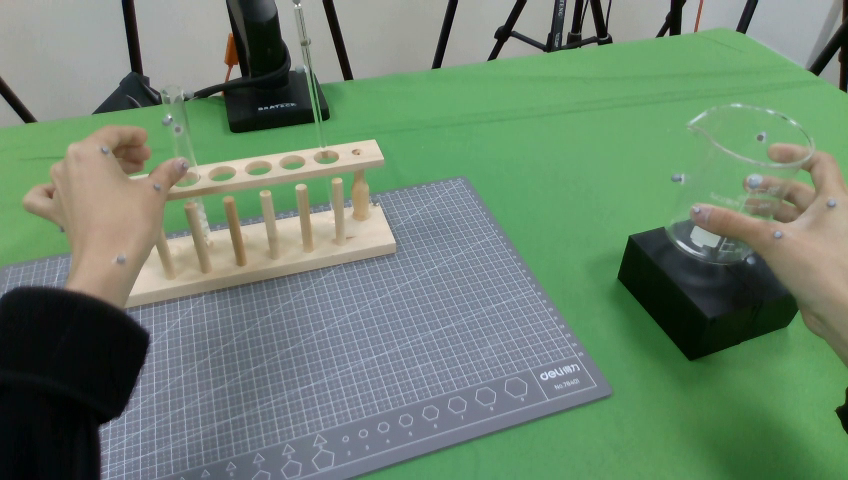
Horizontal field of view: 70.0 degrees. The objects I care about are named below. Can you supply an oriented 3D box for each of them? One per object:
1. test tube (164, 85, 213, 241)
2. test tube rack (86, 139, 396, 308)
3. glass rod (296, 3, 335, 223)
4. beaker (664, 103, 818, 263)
[{"bbox_3d":[-0.191,-0.057,0.497,0.017,0.151,0.017,4,42,-3],"label":"test tube"},{"bbox_3d":[-0.150,-0.018,0.529,0.243,0.086,0.066,-11,43,-13],"label":"test tube rack"},{"bbox_3d":[-0.091,-0.100,0.523,0.008,0.201,0.008,-2,35,2],"label":"glass rod"},{"bbox_3d":[0.223,-0.039,0.446,0.083,0.101,0.073,17,47,15],"label":"beaker"}]
